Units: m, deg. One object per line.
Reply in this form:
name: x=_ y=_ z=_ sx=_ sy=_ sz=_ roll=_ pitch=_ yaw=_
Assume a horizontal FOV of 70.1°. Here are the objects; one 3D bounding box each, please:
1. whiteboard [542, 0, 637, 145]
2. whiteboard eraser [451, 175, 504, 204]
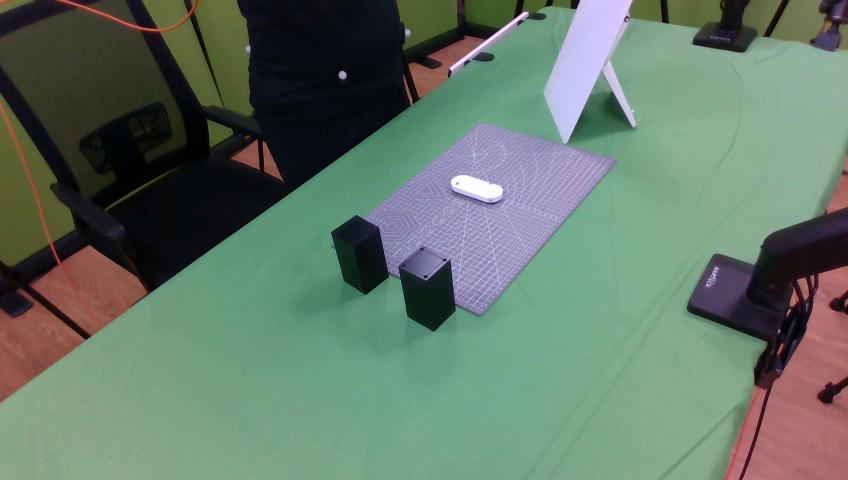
whiteboard: x=0.365 y=-0.351 z=1.160 sx=0.144 sy=0.305 sz=0.216 roll=9 pitch=39 yaw=-10
whiteboard eraser: x=0.093 y=-0.089 z=1.059 sx=0.100 sy=0.019 sz=0.041 roll=22 pitch=49 yaw=30
